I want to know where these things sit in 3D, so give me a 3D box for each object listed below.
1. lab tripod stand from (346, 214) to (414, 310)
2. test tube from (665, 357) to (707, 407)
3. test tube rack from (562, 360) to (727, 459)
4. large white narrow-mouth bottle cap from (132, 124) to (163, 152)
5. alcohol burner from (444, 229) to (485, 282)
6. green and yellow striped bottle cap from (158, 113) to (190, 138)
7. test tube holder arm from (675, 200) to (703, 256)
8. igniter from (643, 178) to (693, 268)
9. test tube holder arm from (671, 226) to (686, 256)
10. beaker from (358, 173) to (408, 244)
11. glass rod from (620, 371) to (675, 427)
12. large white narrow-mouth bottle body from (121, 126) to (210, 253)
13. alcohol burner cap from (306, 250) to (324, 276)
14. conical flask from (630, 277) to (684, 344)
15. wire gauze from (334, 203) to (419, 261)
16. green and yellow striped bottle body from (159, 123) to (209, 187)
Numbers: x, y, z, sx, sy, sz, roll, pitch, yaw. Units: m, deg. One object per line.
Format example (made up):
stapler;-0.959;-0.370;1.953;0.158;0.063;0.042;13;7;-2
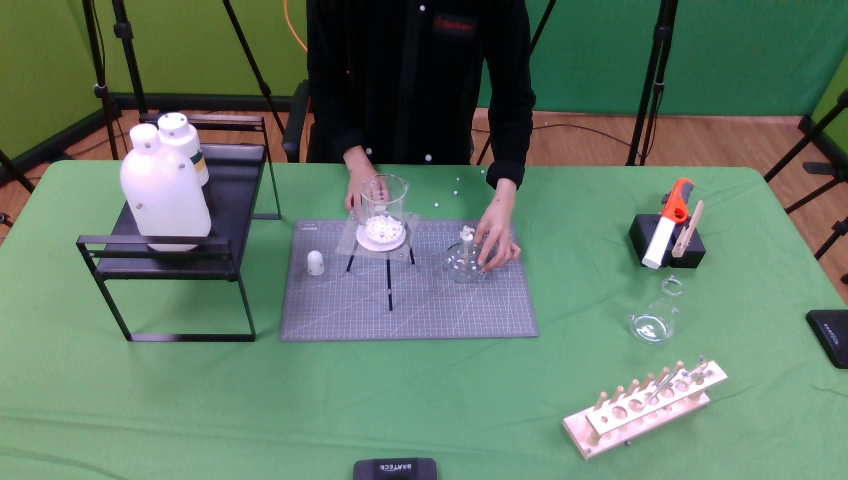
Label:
lab tripod stand;-0.075;0.030;1.082;0.148;0.132;0.147;1;47;-1
test tube;0.387;0.215;0.905;0.017;0.151;0.017;1;52;-1
test tube rack;0.341;0.247;0.940;0.243;0.085;0.066;-16;49;-19
large white narrow-mouth bottle cap;-0.371;-0.137;0.813;0.038;0.024;0.037;3;46;-3
alcohol burner;0.076;0.022;1.114;0.078;0.120;0.077;1;48;-1
green and yellow striped bottle cap;-0.393;-0.180;0.951;0.045;0.020;0.045;2;44;-2
test tube holder arm;0.523;-0.025;1.190;0.013;0.015;0.178;0;36;41
igniter;0.488;-0.042;1.205;0.057;0.025;0.276;30;51;11
test tube holder arm;0.494;0.001;1.167;0.010;0.015;0.087;1;36;42
beaker;-0.066;-0.050;1.000;0.084;0.101;0.073;-18;49;-20
glass rod;0.315;0.230;0.863;0.008;0.200;0.008;3;54;-3
large white narrow-mouth bottle body;-0.378;-0.077;0.875;0.102;0.195;0.101;3;46;-3
alcohol burner cap;-0.204;0.041;1.125;0.034;0.048;0.033;2;46;-2
conical flask;0.408;0.117;1.045;0.075;0.122;0.075;2;46;-2
wire gauze;-0.078;-0.013;1.031;0.121;0.011;0.124;8;48;7
green and yellow striped bottle body;-0.395;-0.145;0.989;0.063;0.120;0.063;2;46;-2
